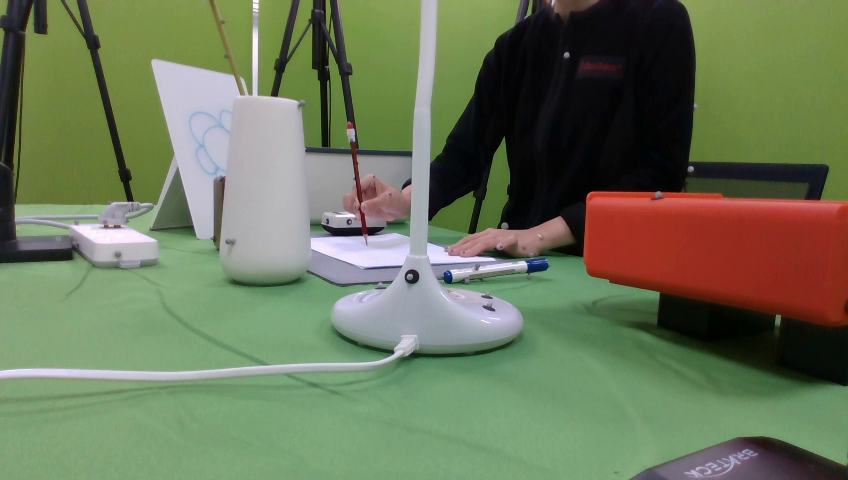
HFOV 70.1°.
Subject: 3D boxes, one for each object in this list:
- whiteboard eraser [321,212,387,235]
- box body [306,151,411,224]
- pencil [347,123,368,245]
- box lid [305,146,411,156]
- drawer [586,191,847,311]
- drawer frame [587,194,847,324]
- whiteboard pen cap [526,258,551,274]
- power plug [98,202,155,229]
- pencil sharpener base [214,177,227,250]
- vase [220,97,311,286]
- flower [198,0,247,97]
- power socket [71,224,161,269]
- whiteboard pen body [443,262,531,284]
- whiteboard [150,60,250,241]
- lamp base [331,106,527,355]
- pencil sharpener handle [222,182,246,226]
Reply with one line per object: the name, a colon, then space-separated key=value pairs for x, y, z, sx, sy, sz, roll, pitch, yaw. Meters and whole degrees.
whiteboard eraser: x=-0.128 y=-0.031 z=1.108 sx=0.113 sy=0.042 sz=0.055 roll=-3 pitch=7 yaw=-38
box body: x=-0.230 y=-0.126 z=1.371 sx=0.366 sy=0.160 sz=0.253 roll=-2 pitch=8 yaw=-33
pencil: x=-0.103 y=-0.087 z=0.948 sx=0.012 sy=0.194 sz=0.012 roll=-7 pitch=6 yaw=1
box lid: x=-0.229 y=-0.200 z=1.360 sx=0.373 sy=0.015 sz=0.262 roll=-3 pitch=9 yaw=-33
drawer: x=0.281 y=0.001 z=0.512 sx=0.195 sy=0.073 sz=0.210 roll=0 pitch=8 yaw=-29
drawer frame: x=0.286 y=0.004 z=0.508 sx=0.203 sy=0.082 sz=0.212 roll=-1 pitch=6 yaw=-30
whiteboard pen cap: x=0.141 y=0.033 z=0.759 sx=0.033 sy=0.018 sz=0.018 roll=-7 pitch=11 yaw=-26
power plug: x=-0.416 y=-0.027 z=0.848 sx=0.073 sy=0.052 sz=0.035 roll=0 pitch=8 yaw=-28
pencil sharpener base: x=-0.265 y=-0.036 z=0.870 sx=0.061 sy=0.107 sz=0.076 roll=-2 pitch=8 yaw=-29
vase: x=-0.172 y=-0.052 z=0.662 sx=0.098 sy=0.200 sz=0.098 roll=3 pitch=8 yaw=0
flower: x=-0.187 y=-0.133 z=0.648 sx=0.038 sy=0.362 sz=0.044 roll=-1 pitch=22 yaw=43
power socket: x=-0.408 y=0.004 z=0.793 sx=0.072 sy=0.032 sz=0.225 roll=-2 pitch=8 yaw=-38
whiteboard pen body: x=0.087 y=0.038 z=0.734 sx=0.141 sy=0.017 sz=0.017 roll=-5 pitch=10 yaw=-27
whiteboard: x=-0.408 y=-0.139 z=1.093 sx=0.143 sy=0.305 sz=0.218 roll=-15 pitch=-1 yaw=26
lamp base: x=0.006 y=-0.012 z=0.478 sx=0.161 sy=0.180 sz=0.179 roll=2 pitch=10 yaw=2
pencil sharpener handle: x=-0.289 y=-0.055 z=0.912 sx=0.036 sy=0.067 sz=0.030 roll=-3 pitch=9 yaw=-29
